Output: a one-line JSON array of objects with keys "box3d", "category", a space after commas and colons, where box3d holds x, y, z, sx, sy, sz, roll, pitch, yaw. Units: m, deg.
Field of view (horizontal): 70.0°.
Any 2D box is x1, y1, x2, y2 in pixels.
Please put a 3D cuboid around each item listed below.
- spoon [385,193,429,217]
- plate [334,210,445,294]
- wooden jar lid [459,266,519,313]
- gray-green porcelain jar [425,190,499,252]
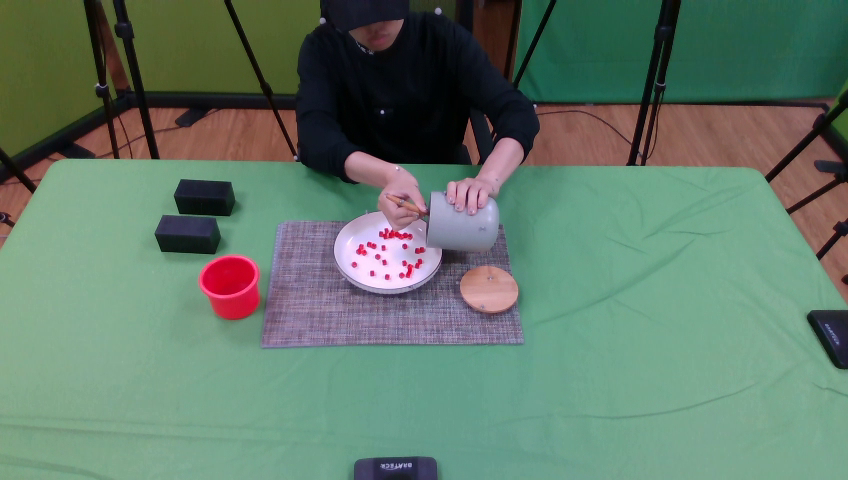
[{"box3d": [0.013, -0.048, 1.091, 0.194, 0.022, 0.041, 16, 32, -27], "category": "spoon"}, {"box3d": [-0.066, 0.026, 1.150, 0.208, 0.039, 0.206, 2, 46, -2], "category": "plate"}, {"box3d": [0.118, 0.093, 1.111, 0.108, 0.021, 0.107, 1, 47, -1], "category": "wooden jar lid"}, {"box3d": [0.069, -0.034, 1.108, 0.126, 0.106, 0.105, 5, 46, -3], "category": "gray-green porcelain jar"}]
